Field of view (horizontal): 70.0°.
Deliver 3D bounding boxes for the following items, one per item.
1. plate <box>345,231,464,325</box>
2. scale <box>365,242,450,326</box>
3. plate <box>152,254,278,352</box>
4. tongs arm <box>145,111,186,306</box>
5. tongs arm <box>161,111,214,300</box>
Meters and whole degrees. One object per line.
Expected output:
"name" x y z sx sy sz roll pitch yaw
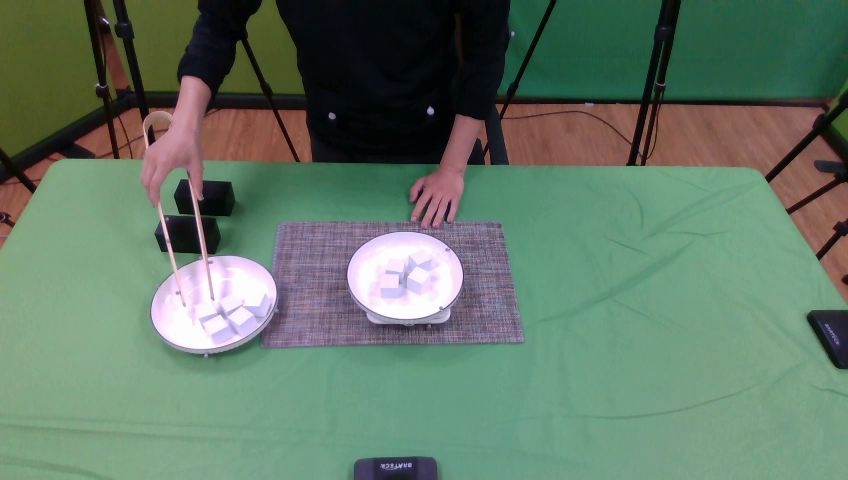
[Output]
"plate" -0.034 0.069 1.069 0.209 0.038 0.208 2 46 -2
"scale" -0.032 0.071 1.113 0.149 0.032 0.199 0 46 -4
"plate" -0.357 0.111 1.052 0.208 0.039 0.206 2 46 -2
"tongs arm" -0.453 -0.064 1.087 0.051 0.026 0.383 -17 71 -16
"tongs arm" -0.426 -0.071 1.095 0.028 0.028 0.385 -16 71 -12
